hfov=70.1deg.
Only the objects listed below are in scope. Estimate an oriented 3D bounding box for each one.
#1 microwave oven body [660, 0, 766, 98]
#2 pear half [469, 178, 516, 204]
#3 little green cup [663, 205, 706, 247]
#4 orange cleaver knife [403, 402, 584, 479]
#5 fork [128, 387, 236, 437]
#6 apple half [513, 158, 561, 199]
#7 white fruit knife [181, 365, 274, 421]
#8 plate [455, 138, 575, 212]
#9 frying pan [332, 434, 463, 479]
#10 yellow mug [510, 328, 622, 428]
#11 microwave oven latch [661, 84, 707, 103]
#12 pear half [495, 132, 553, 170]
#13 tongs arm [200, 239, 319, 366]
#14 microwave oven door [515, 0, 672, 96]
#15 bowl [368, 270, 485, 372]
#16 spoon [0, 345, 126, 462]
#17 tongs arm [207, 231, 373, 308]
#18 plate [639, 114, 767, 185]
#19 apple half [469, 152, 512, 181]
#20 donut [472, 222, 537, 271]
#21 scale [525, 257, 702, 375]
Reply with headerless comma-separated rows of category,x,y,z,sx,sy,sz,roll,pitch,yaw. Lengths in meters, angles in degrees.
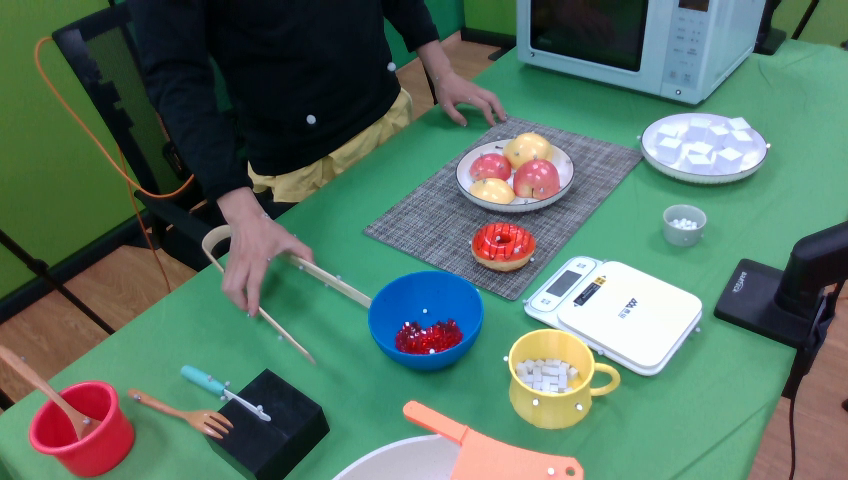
microwave oven body,0.472,-0.513,1.317,0.438,0.261,0.327,26,51,34
pear half,0.115,-0.090,1.035,0.087,0.031,0.071,27,37,31
little green cup,0.396,-0.020,0.926,0.061,0.039,0.061,-4,40,4
orange cleaver knife,0.062,0.222,0.609,0.210,0.012,0.077,15,48,25
fork,-0.305,0.207,0.744,0.206,0.019,0.028,3,41,36
apple half,0.193,-0.111,1.031,0.080,0.053,0.075,12,41,26
white fruit knife,-0.245,0.187,0.747,0.205,0.027,0.016,9,42,40
plate,0.159,-0.111,1.063,0.209,0.038,0.208,-4,40,4
frying pan,-0.089,0.306,0.564,0.487,0.103,0.306,10,41,7
yellow mug,0.168,0.164,0.722,0.130,0.064,0.099,0,40,8
microwave oven latch,0.517,-0.296,1.204,0.078,0.029,0.030,27,52,35
pear half,0.175,-0.168,1.094,0.109,0.056,0.076,15,54,29
tongs arm,-0.255,0.083,0.894,0.028,0.028,0.384,-42,43,-18
microwave oven door,0.343,-0.454,1.259,0.353,0.245,0.039,26,51,33
bowl,0.007,0.118,0.791,0.151,0.077,0.150,-5,40,4
spoon,-0.434,0.192,0.720,0.194,0.021,0.042,47,53,-7
tongs arm,-0.214,0.046,0.919,0.381,0.027,0.051,22,56,40
plate,0.489,-0.157,1.074,0.207,0.039,0.206,-4,40,4
apple half,0.120,-0.139,1.088,0.081,0.033,0.081,1,45,0
donut,0.123,0.008,0.923,0.099,0.048,0.098,-3,38,3
scale,0.254,0.091,0.821,0.199,0.032,0.149,28,51,35
